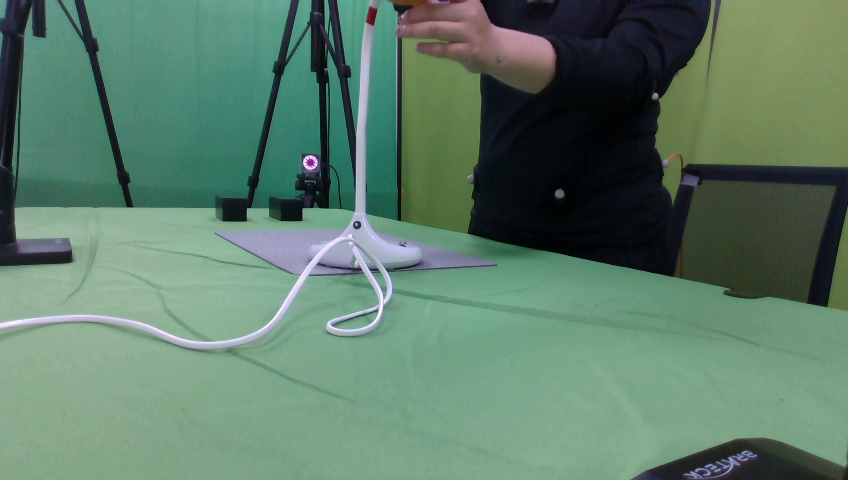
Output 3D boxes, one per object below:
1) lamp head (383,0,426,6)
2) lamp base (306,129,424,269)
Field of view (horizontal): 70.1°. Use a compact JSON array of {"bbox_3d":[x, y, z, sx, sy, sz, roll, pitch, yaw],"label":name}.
[{"bbox_3d":[-0.024,-0.325,0.671,0.112,0.123,0.112,4,3,0],"label":"lamp head"},{"bbox_3d":[-0.077,-0.057,0.810,0.161,0.180,0.179,2,10,-4],"label":"lamp base"}]
